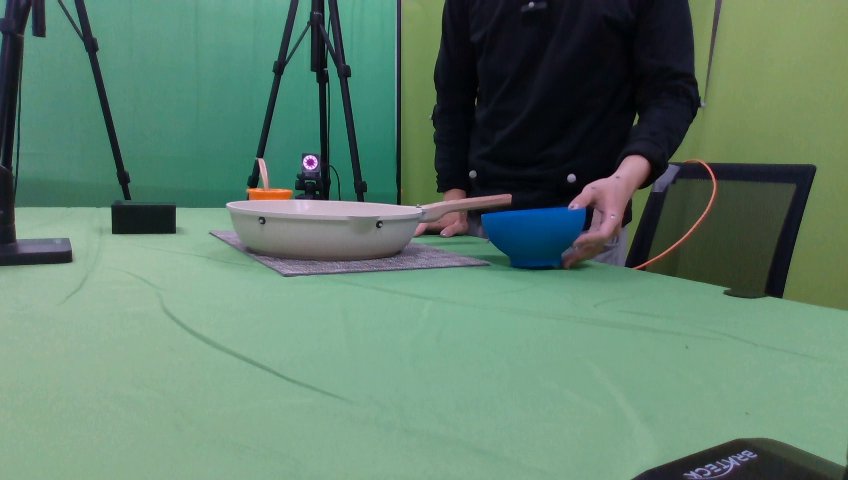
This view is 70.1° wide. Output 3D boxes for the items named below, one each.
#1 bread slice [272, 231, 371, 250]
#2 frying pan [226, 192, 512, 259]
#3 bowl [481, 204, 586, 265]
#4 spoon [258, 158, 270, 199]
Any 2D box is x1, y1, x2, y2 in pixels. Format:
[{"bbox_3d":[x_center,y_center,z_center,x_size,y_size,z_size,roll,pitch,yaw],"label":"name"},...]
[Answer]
[{"bbox_3d":[-0.148,0.001,0.929,0.133,0.018,0.107,6,8,38],"label":"bread slice"},{"bbox_3d":[-0.058,-0.041,0.975,0.490,0.102,0.305,-11,13,-26],"label":"frying pan"},{"bbox_3d":[0.159,-0.007,0.873,0.151,0.077,0.151,-5,4,1],"label":"bowl"},{"bbox_3d":[-0.332,-0.107,1.269,0.042,0.021,0.193,1,52,-24],"label":"spoon"}]
